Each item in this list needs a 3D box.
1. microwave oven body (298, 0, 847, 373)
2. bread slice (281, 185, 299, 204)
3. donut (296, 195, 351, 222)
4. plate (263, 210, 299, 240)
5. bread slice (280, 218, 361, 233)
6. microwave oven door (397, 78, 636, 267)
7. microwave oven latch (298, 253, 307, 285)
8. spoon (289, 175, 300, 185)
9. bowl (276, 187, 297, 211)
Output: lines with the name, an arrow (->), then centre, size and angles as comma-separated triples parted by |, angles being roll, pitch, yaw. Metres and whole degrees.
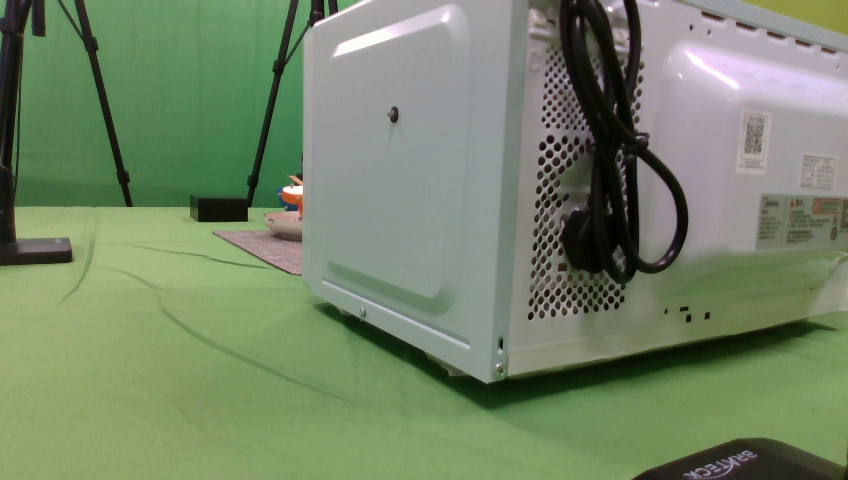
microwave oven body -> 0.151, -0.055, 0.543 | 0.444, 0.260, 0.324 | -1, 7, -33
bread slice -> -0.185, -0.082, 1.071 | 0.132, 0.019, 0.104 | -2, 15, -18
donut -> -0.179, -0.058, 1.080 | 0.099, 0.048, 0.099 | 2, 1, 0
plate -> -0.180, -0.026, 1.079 | 0.208, 0.039, 0.207 | 2, 7, 0
bread slice -> -0.187, -0.026, 1.075 | 0.135, 0.018, 0.106 | -1, 7, -22
microwave oven door -> 0.114, -0.103, 0.872 | 0.354, 0.243, 0.039 | 7, 9, 34
microwave oven latch -> -0.082, 0.027, 0.583 | 0.079, 0.029, 0.030 | -2, 7, -33
spoon -> -0.261, -0.111, 1.344 | 0.042, 0.021, 0.192 | -7, 32, -31
bowl -> -0.241, -0.073, 1.303 | 0.151, 0.077, 0.151 | 2, 7, 0
